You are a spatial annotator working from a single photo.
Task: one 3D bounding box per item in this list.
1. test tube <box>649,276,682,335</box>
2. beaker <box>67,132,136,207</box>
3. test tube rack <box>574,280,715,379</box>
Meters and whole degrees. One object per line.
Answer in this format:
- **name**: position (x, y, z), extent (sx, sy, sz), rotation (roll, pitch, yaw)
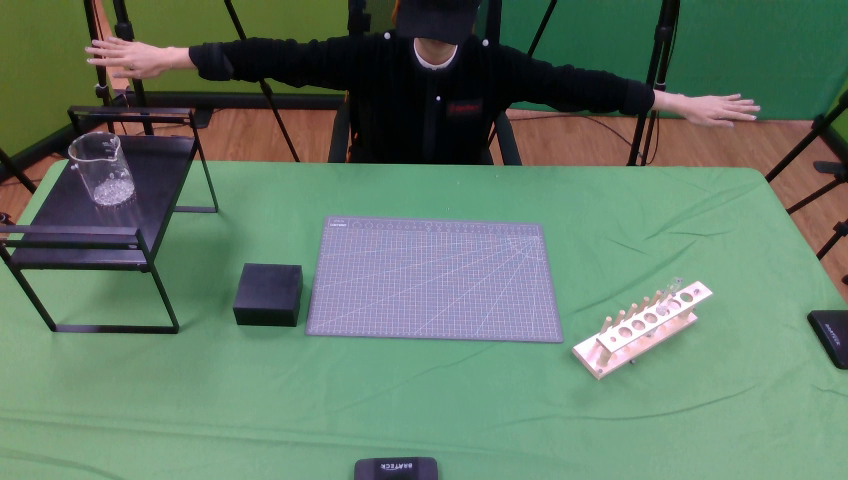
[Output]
- **test tube**: position (0.396, 0.111, 0.999), extent (0.017, 0.151, 0.017), rotation (0, 48, 0)
- **beaker**: position (-0.504, -0.109, 0.961), extent (0.083, 0.101, 0.074), rotation (25, 50, 19)
- **test tube rack**: position (0.378, 0.140, 1.038), extent (0.242, 0.085, 0.066), rotation (-22, 51, -23)
